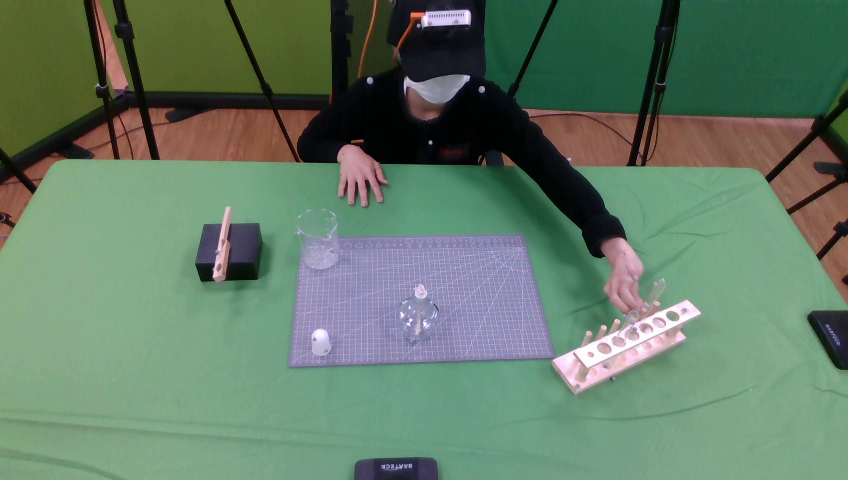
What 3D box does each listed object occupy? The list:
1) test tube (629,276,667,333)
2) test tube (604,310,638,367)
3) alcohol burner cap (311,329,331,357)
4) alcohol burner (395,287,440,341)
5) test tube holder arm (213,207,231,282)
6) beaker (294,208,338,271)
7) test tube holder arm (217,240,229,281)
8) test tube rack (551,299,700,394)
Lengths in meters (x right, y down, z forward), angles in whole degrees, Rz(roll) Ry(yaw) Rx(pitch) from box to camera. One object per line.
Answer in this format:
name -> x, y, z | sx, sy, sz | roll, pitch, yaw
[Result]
test tube -> 0.372, 0.110, 1.012 | 0.017, 0.151, 0.017 | 3, 49, -3
test tube -> 0.310, 0.158, 0.957 | 0.017, 0.151, 0.017 | 1, 49, -1
alcohol burner cap -> -0.173, 0.168, 1.004 | 0.034, 0.048, 0.033 | 2, 46, -2
alcohol burner -> -0.010, 0.116, 1.018 | 0.078, 0.119, 0.077 | 3, 47, -3
test tube holder arm -> -0.366, 0.004, 1.101 | 0.013, 0.015, 0.177 | -10, 46, -1
beaker -> -0.196, 0.003, 1.123 | 0.074, 0.101, 0.083 | -23, 52, -24
test tube holder arm -> -0.354, 0.035, 1.070 | 0.010, 0.015, 0.087 | -10, 46, -1
test tube rack -> 0.339, 0.166, 1.021 | 0.242, 0.085, 0.066 | -19, 50, -21
